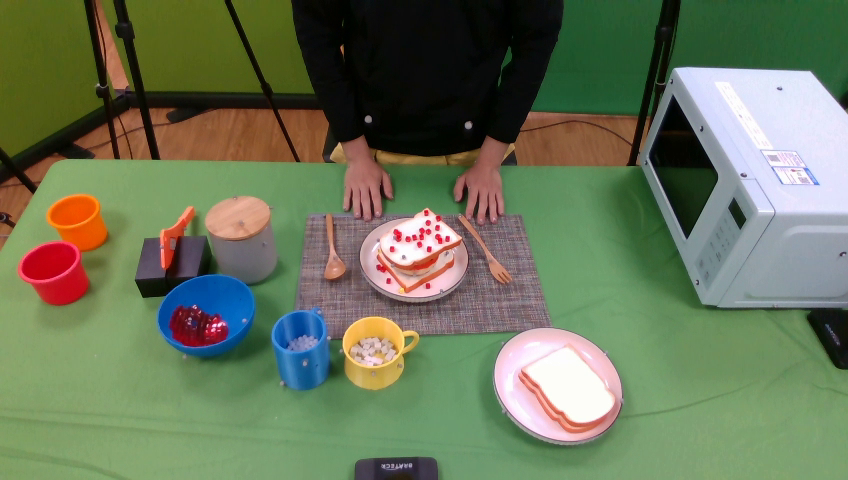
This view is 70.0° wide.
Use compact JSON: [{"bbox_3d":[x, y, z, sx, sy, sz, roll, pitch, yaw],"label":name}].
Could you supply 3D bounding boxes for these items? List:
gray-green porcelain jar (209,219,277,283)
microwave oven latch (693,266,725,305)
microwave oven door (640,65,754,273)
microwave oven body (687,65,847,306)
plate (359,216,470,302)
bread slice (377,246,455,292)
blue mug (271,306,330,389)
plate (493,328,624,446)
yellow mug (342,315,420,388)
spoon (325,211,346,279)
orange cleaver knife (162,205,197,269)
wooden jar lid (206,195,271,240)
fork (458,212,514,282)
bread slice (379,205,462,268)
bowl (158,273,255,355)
[{"bbox_3d":[-0.323,0.007,1.092,0.106,0.127,0.105,2,46,-2],"label":"gray-green porcelain jar"},{"bbox_3d":[0.523,0.081,1.116,0.030,0.029,0.078,3,46,0],"label":"microwave oven latch"},{"bbox_3d":[0.523,-0.147,1.193,0.039,0.245,0.353,0,47,-3],"label":"microwave oven door"},{"bbox_3d":[0.669,-0.111,1.176,0.326,0.261,0.439,0,46,-3],"label":"microwave oven body"},{"bbox_3d":[-0.019,0.038,1.140,0.209,0.038,0.208,2,46,-2],"label":"plate"},{"bbox_3d":[-0.010,0.034,1.150,0.131,0.019,0.104,-28,56,-24],"label":"bread slice"},{"bbox_3d":[-0.188,0.163,0.969,0.082,0.106,0.116,15,47,10],"label":"blue mug"},{"bbox_3d":[0.213,0.236,0.974,0.208,0.039,0.206,2,46,-2],"label":"plate"},{"bbox_3d":[-0.068,0.177,0.990,0.131,0.064,0.099,-15,50,-19],"label":"yellow mug"},{"bbox_3d":[-0.177,0.006,1.170,0.041,0.022,0.192,-20,48,6],"label":"spoon"},{"bbox_3d":[-0.454,-0.010,1.129,0.012,0.077,0.210,-1,20,-5],"label":"orange cleaver knife"},{"bbox_3d":[-0.319,-0.036,1.046,0.108,0.021,0.107,1,44,-1],"label":"wooden jar lid"},{"bbox_3d":[0.116,0.011,1.189,0.028,0.019,0.206,-21,53,-13],"label":"fork"},{"bbox_3d":[-0.012,-0.001,1.097,0.134,0.018,0.106,-33,51,-23],"label":"bread slice"},{"bbox_3d":[-0.351,0.135,1.001,0.151,0.077,0.150,2,46,-2],"label":"bowl"}]
